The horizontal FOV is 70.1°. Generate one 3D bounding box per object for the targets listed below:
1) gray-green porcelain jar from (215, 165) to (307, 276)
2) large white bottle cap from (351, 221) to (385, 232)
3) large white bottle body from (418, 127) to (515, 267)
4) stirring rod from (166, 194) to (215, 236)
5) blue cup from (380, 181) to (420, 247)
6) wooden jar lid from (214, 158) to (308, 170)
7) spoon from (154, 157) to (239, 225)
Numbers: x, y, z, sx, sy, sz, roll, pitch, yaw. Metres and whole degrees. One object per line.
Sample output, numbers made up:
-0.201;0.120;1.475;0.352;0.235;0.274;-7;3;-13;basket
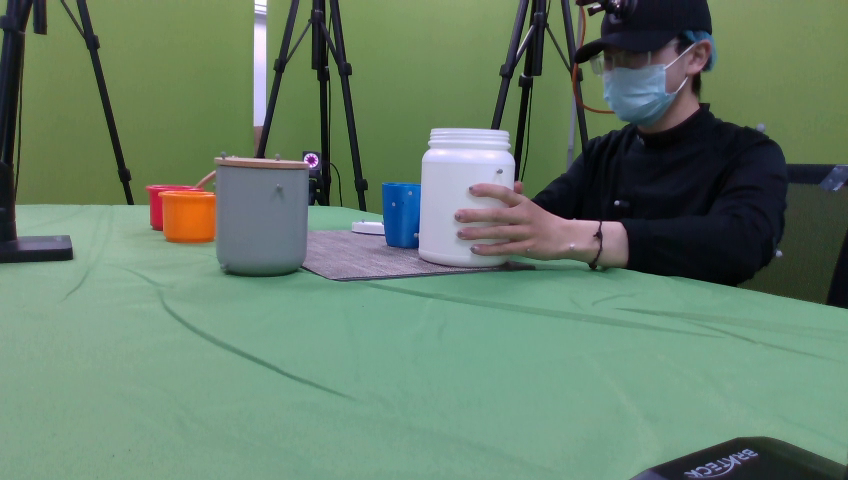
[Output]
-0.195;-0.024;0.726;0.106;0.126;0.106;3;7;0;gray-green porcelain jar
-0.082;-0.025;1.162;0.115;0.018;0.115;3;4;0;large white bottle cap
0.059;-0.063;0.844;0.131;0.184;0.130;2;8;0;large white bottle body
-0.341;-0.066;0.966;0.176;0.006;0.014;-42;23;-9;stirring rod
-0.029;-0.042;0.980;0.093;0.100;0.092;2;9;0;blue cup
-0.193;-0.085;0.719;0.108;0.020;0.108;2;9;0;wooden jar lid
-0.411;-0.092;1.105;0.194;0.022;0.041;-50;33;-20;spoon
